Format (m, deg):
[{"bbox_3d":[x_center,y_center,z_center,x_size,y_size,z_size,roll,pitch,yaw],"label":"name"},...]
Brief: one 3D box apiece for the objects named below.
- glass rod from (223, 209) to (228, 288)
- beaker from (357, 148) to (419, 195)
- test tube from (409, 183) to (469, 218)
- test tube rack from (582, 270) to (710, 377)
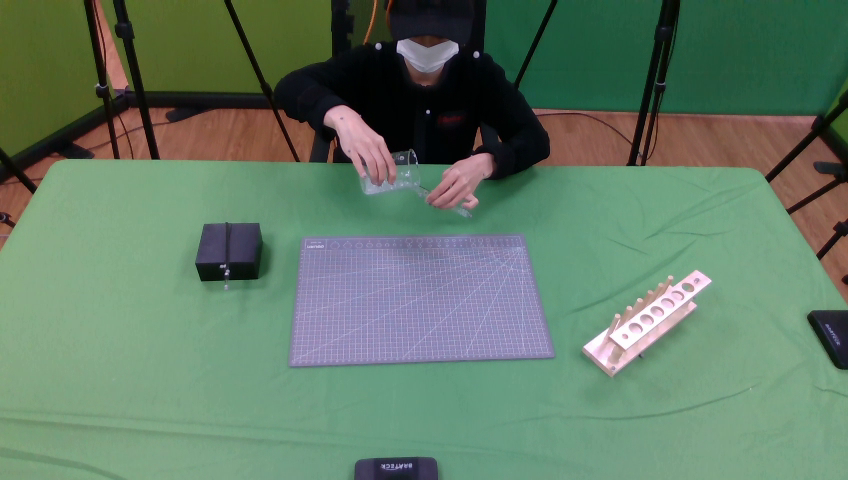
[{"bbox_3d":[-0.360,0.010,1.098,0.008,0.008,0.198,-7,47,-12],"label":"glass rod"},{"bbox_3d":[-0.066,-0.120,1.093,0.100,0.084,0.073,-10,42,-13],"label":"beaker"},{"bbox_3d":[0.032,-0.075,1.172,0.151,0.017,0.017,24,35,-35],"label":"test tube"},{"bbox_3d":[0.389,0.132,1.057,0.242,0.085,0.066,-28,54,-28],"label":"test tube rack"}]
